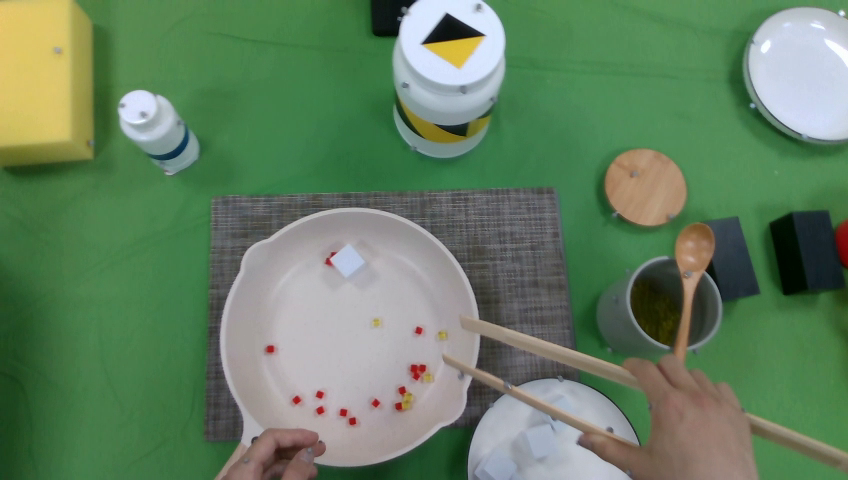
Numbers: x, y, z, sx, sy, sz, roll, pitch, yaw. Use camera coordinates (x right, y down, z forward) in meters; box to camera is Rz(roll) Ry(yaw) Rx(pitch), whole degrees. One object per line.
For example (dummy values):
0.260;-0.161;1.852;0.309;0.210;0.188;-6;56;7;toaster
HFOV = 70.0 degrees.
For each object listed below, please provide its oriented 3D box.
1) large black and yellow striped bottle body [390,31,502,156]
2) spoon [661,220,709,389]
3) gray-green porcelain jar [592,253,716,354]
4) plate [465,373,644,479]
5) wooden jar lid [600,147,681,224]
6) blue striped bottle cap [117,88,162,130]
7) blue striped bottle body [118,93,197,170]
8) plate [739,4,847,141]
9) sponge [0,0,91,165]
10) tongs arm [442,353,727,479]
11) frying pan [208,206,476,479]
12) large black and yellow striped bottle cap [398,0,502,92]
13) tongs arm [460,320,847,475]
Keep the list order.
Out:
0.024;-0.196;0.742;0.131;0.184;0.130;1;75;-3;large black and yellow striped bottle body
0.272;0.073;0.647;0.042;0.021;0.193;14;79;-4;spoon
0.263;0.080;0.717;0.106;0.127;0.105;1;76;-3;gray-green porcelain jar
0.149;0.261;0.709;0.208;0.039;0.206;1;78;-3;plate
0.288;-0.072;0.811;0.108;0.021;0.108;1;77;-3;wooden jar lid
-0.324;-0.149;0.689;0.044;0.021;0.044;1;77;-3;blue striped bottle cap
-0.326;-0.135;0.738;0.063;0.121;0.062;1;75;-3;blue striped bottle body
0.544;-0.232;0.855;0.209;0.038;0.208;1;76;-3;plate
-0.502;-0.206;0.776;0.118;0.061;0.206;-7;77;-5;sponge
0.188;0.160;0.511;0.382;0.027;0.050;21;57;28;tongs arm
-0.149;0.181;0.676;0.306;0.103;0.486;38;69;7;frying pan
0.029;-0.218;0.661;0.115;0.019;0.114;1;77;-3;large black and yellow striped bottle cap
0.201;0.141;0.524;0.385;0.028;0.028;18;52;26;tongs arm
